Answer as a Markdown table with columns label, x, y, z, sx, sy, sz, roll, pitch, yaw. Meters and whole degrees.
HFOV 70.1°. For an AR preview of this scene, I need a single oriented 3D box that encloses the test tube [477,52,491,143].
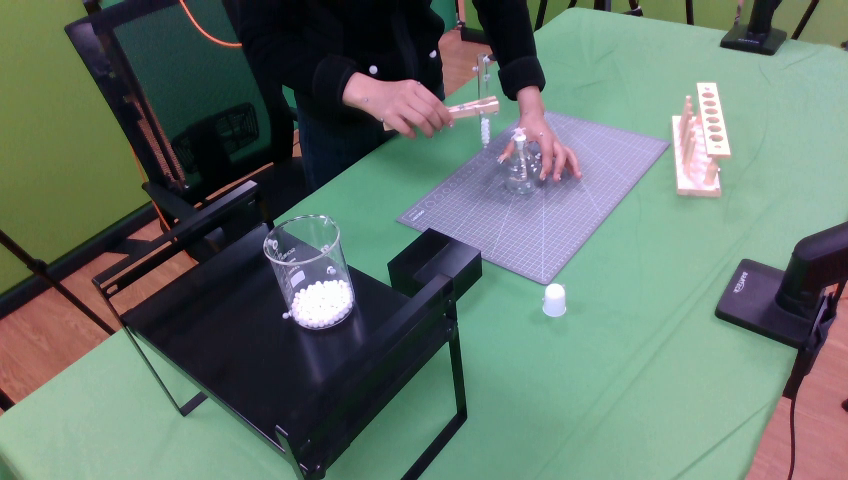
| label | x | y | z | sx | sy | sz | roll | pitch | yaw |
| --- | --- | --- | --- | --- | --- | --- | --- | --- | --- |
| test tube | 0.092 | -0.213 | 0.921 | 0.017 | 0.151 | 0.017 | -4 | 41 | 4 |

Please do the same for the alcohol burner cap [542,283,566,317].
| label | x | y | z | sx | sy | sz | roll | pitch | yaw |
| --- | --- | --- | --- | --- | --- | --- | --- | --- | --- |
| alcohol burner cap | 0.181 | 0.081 | 0.839 | 0.034 | 0.048 | 0.033 | -4 | 40 | 3 |

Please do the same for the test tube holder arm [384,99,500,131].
| label | x | y | z | sx | sy | sz | roll | pitch | yaw |
| --- | --- | --- | --- | --- | --- | --- | --- | --- | --- |
| test tube holder arm | 0.027 | -0.191 | 0.923 | 0.178 | 0.015 | 0.013 | -11 | 37 | 0 |

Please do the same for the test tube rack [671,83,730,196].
| label | x | y | z | sx | sy | sz | roll | pitch | yaw |
| --- | --- | --- | --- | --- | --- | --- | --- | --- | --- |
| test tube rack | 0.482 | -0.184 | 1.067 | 0.066 | 0.085 | 0.242 | 6 | 42 | 15 |

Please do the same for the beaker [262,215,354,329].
| label | x | y | z | sx | sy | sz | roll | pitch | yaw |
| --- | --- | --- | --- | --- | --- | --- | --- | --- | --- |
| beaker | -0.112 | 0.034 | 0.616 | 0.073 | 0.101 | 0.084 | 13 | 44 | 22 |

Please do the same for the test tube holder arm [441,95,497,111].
| label | x | y | z | sx | sy | sz | roll | pitch | yaw |
| --- | --- | --- | --- | --- | --- | --- | --- | --- | --- |
| test tube holder arm | 0.070 | -0.204 | 0.928 | 0.088 | 0.015 | 0.010 | -16 | 38 | -6 |

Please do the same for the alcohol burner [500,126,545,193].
| label | x | y | z | sx | sy | sz | roll | pitch | yaw |
| --- | --- | --- | --- | --- | --- | --- | --- | --- | --- |
| alcohol burner | 0.169 | -0.142 | 1.039 | 0.078 | 0.119 | 0.077 | -6 | 41 | 5 |
